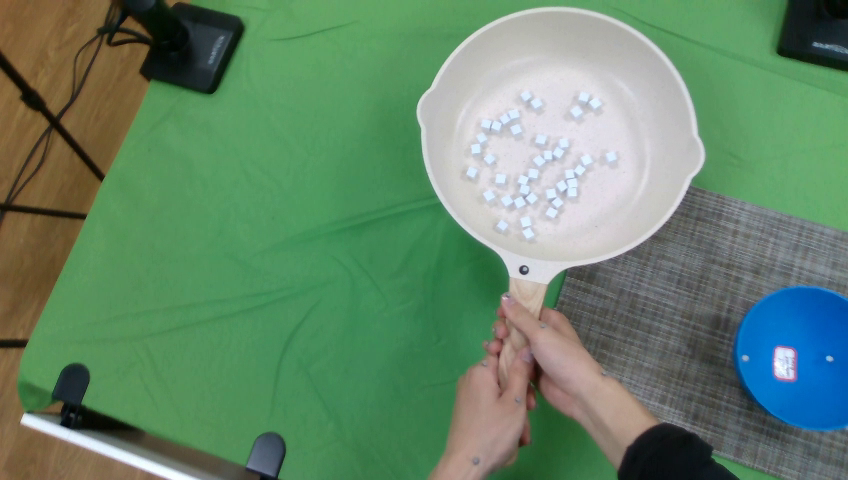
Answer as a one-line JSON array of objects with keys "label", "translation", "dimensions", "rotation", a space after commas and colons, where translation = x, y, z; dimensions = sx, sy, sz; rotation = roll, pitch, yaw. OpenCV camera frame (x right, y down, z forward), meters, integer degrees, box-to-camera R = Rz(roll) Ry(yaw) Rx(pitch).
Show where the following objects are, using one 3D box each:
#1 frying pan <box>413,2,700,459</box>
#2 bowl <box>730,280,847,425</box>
[{"label": "frying pan", "translation": [0.116, -0.020, 0.643], "dimensions": [0.306, 0.103, 0.485], "rotation": [12, 72, 6]}, {"label": "bowl", "translation": [0.402, 0.124, 0.661], "dimensions": [0.151, 0.077, 0.150], "rotation": [-1, 76, 4]}]
